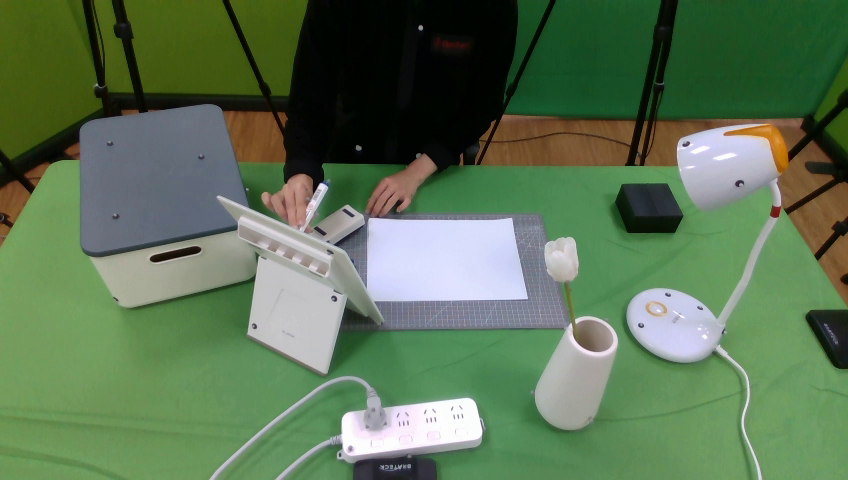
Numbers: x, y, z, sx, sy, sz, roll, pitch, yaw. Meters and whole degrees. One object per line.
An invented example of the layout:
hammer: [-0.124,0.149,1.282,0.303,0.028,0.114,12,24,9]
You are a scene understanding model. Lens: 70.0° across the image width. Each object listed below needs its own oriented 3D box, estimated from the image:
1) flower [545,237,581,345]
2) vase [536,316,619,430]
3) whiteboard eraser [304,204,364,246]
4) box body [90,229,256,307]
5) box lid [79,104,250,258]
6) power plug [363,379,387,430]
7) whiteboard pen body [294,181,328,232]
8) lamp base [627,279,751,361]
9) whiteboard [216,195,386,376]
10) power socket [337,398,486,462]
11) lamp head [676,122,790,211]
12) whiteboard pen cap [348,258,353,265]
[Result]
flower: [0.213,0.137,0.846,0.038,0.364,0.044,22,55,40]
vase: [0.229,0.200,0.901,0.098,0.201,0.097,3,46,-3]
whiteboard eraser: [-0.175,-0.022,1.188,0.055,0.042,0.112,36,53,26]
box body: [-0.471,-0.070,1.131,0.254,0.161,0.361,-14,49,-17]
box lid: [-0.467,-0.120,1.075,0.264,0.015,0.369,-13,49,-17]
power plug: [-0.071,0.252,0.911,0.035,0.053,0.072,3,40,0]
whiteboard pen body: [-0.195,-0.038,0.999,0.017,0.017,0.140,21,71,15]
lamp base: [0.460,0.100,1.027,0.178,0.181,0.160,27,51,17]
whiteboard: [-0.212,0.093,0.939,0.216,0.307,0.143,24,70,17]
power socket: [-0.018,0.285,0.914,0.227,0.033,0.071,-4,46,-8]
lamp head: [0.423,-0.104,0.819,0.122,0.113,0.112,-13,33,40]
whiteboard pen cap: [-0.152,0.041,1.146,0.033,0.018,0.018,11,47,10]
